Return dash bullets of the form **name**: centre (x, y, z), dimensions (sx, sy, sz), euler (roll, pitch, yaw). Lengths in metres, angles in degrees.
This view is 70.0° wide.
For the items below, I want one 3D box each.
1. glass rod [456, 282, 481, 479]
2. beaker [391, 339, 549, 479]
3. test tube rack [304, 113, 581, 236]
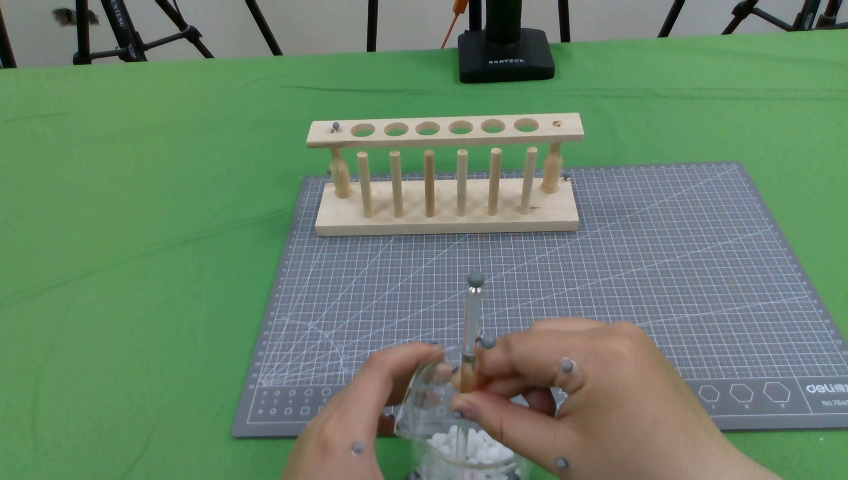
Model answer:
- **glass rod**: centre (0.021, 0.086, 0.299), dimensions (0.008, 0.201, 0.008), euler (-1, 46, 1)
- **beaker**: centre (0.023, 0.118, 0.348), dimensions (0.084, 0.101, 0.073), euler (-13, 45, -13)
- **test tube rack**: centre (0.017, -0.059, 0.555), dimensions (0.242, 0.086, 0.066), euler (-1, 44, 3)
